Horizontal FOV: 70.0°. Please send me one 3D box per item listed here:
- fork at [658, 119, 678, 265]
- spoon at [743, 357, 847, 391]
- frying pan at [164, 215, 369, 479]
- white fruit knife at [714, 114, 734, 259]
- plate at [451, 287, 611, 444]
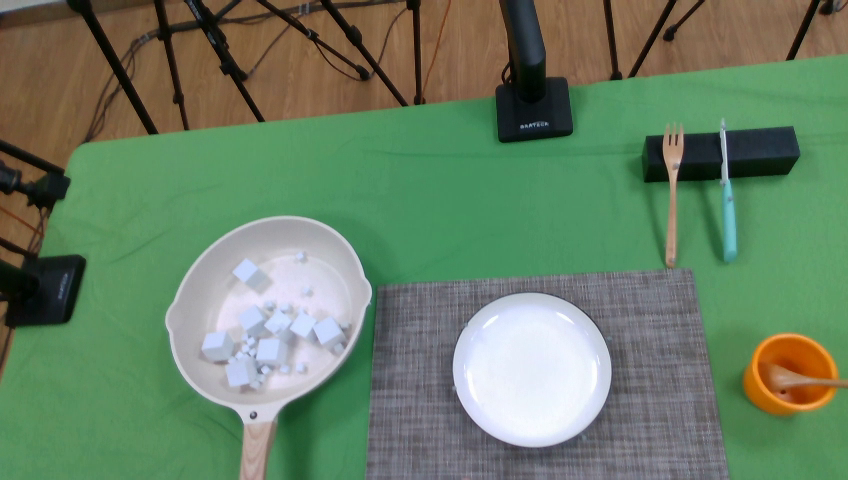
[{"bbox_3d":[0.345,-0.069,0.856,0.028,0.019,0.206,3,84,5],"label":"fork"},{"bbox_3d":[0.453,0.154,0.682,0.193,0.022,0.041,-11,58,53],"label":"spoon"},{"bbox_3d":[-0.219,0.190,0.829,0.306,0.104,0.483,-8,55,8],"label":"frying pan"},{"bbox_3d":[0.415,-0.078,0.846,0.016,0.027,0.206,-1,80,10],"label":"white fruit knife"},{"bbox_3d":[0.140,0.165,0.803,0.207,0.039,0.206,-4,64,9],"label":"plate"}]
